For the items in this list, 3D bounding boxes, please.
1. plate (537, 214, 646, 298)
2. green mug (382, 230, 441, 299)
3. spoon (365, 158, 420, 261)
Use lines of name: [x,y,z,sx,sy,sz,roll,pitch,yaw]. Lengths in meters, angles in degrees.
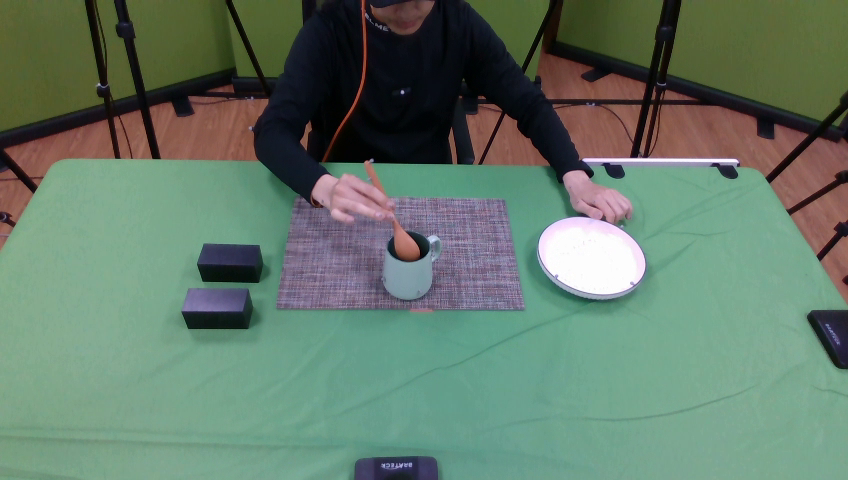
plate: [0.321,0.035,1.176,0.209,0.038,0.208,2,47,-2]
green mug: [-0.017,0.037,1.097,0.125,0.105,0.092,-34,57,-31]
spoon: [-0.058,-0.049,1.033,0.041,0.194,0.021,-21,9,17]
